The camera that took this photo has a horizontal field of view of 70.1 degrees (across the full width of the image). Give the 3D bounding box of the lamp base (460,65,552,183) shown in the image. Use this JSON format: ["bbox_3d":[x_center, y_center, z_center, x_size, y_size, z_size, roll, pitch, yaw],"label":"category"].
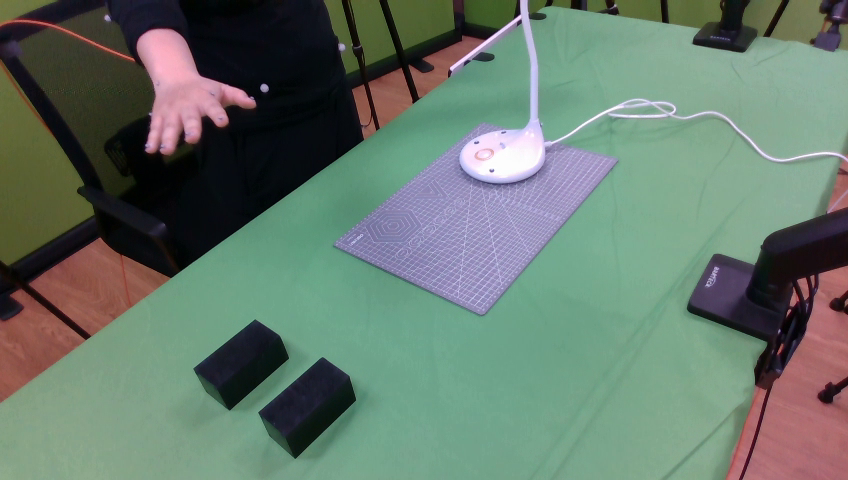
[{"bbox_3d":[0.149,-0.218,1.078,0.180,0.181,0.159,-19,41,-17],"label":"lamp base"}]
